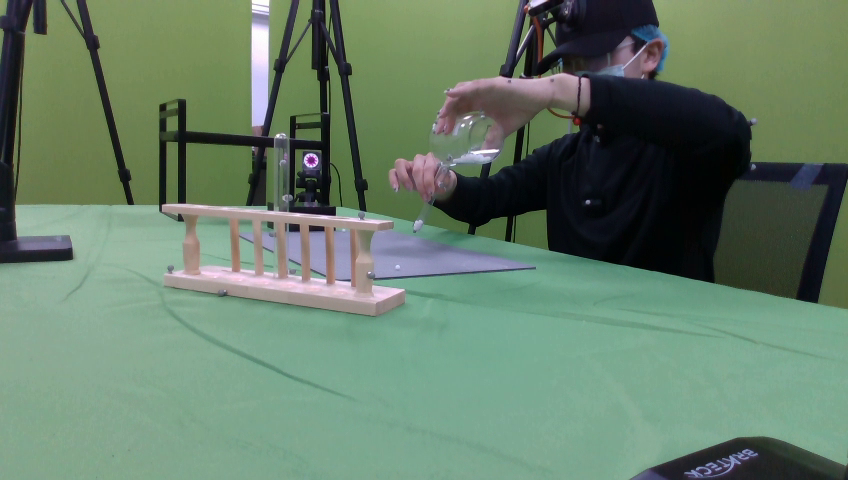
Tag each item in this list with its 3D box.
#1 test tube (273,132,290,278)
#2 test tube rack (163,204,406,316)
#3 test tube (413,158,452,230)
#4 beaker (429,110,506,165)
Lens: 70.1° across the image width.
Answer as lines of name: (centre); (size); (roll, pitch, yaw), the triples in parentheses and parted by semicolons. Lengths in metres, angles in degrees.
test tube: (-0.146, -0.034, 0.617); (0.017, 0.150, 0.017); (2, 8, 0)
test tube rack: (-0.141, 0.013, 0.601); (0.241, 0.085, 0.067); (5, 8, 21)
test tube: (0.012, -0.069, 0.959); (0.017, 0.150, 0.017); (14, 42, -13)
beaker: (0.061, -0.144, 0.861); (0.074, 0.084, 0.100); (35, -12, -27)
